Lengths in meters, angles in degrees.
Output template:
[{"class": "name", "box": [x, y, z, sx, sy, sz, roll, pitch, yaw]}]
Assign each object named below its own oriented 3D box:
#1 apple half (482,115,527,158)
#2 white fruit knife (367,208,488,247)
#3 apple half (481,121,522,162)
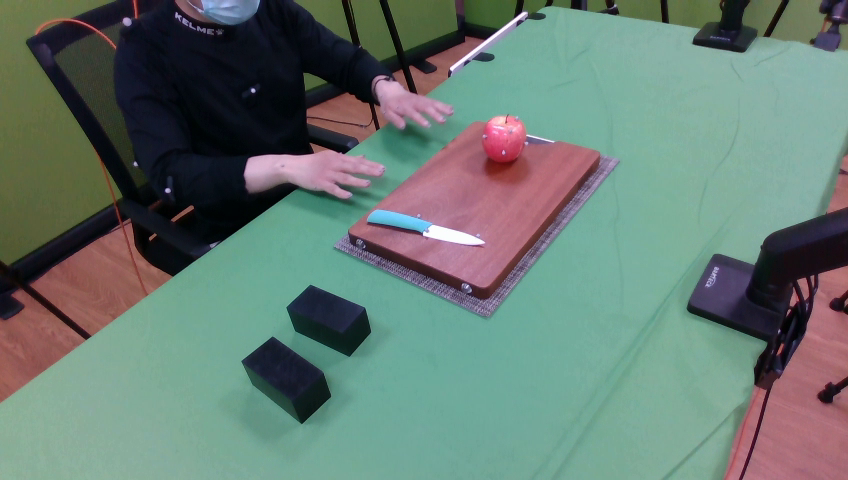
[{"class": "apple half", "box": [0.149, -0.188, 1.082, 0.080, 0.075, 0.053, 13, 40, 28]}, {"class": "white fruit knife", "box": [0.004, -0.019, 0.952, 0.206, 0.016, 0.027, 15, 75, 21]}, {"class": "apple half", "box": [0.130, -0.165, 1.057, 0.081, 0.081, 0.033, 16, 42, 25]}]
